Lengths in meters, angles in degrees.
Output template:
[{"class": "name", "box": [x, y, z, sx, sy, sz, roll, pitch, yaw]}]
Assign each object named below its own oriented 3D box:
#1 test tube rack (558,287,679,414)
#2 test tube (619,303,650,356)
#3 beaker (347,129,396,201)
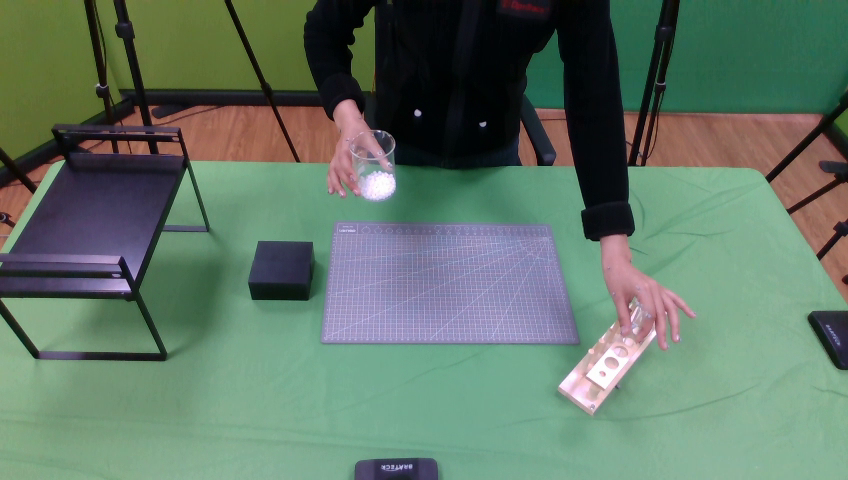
[{"class": "test tube rack", "box": [0.326, 0.170, 1.009, 0.066, 0.085, 0.242, 35, 54, 27]}, {"class": "test tube", "box": [0.326, 0.146, 0.945, 0.017, 0.151, 0.017, -1, 49, 1]}, {"class": "beaker", "box": [-0.082, -0.122, 0.996, 0.074, 0.101, 0.083, 18, 51, 16]}]
